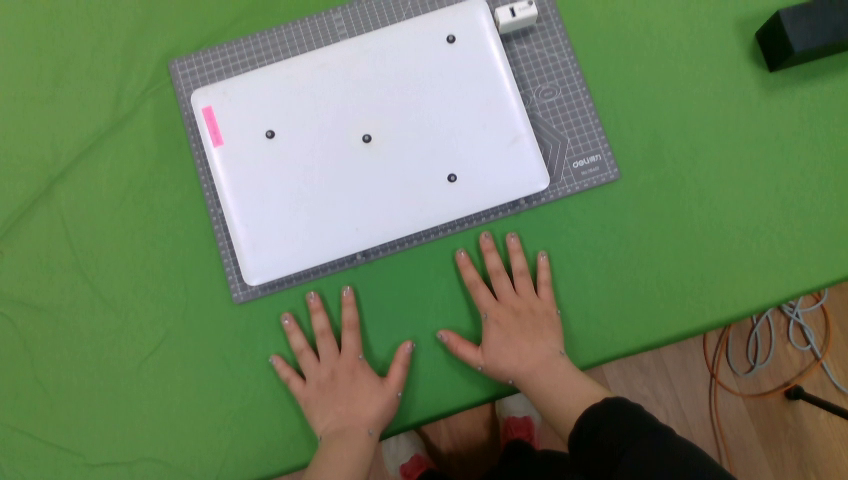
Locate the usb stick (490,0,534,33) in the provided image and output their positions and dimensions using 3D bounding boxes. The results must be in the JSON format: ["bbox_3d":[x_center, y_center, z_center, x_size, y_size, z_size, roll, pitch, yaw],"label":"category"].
[{"bbox_3d":[0.092,-0.253,0.684,0.059,0.027,0.021,-17,81,2],"label":"usb stick"}]

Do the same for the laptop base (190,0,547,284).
[{"bbox_3d":[-0.065,-0.114,0.681,0.354,0.023,0.235,-19,84,-1],"label":"laptop base"}]

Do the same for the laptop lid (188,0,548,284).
[{"bbox_3d":[-0.065,-0.114,0.670,0.357,0.013,0.241,-17,83,0],"label":"laptop lid"}]
